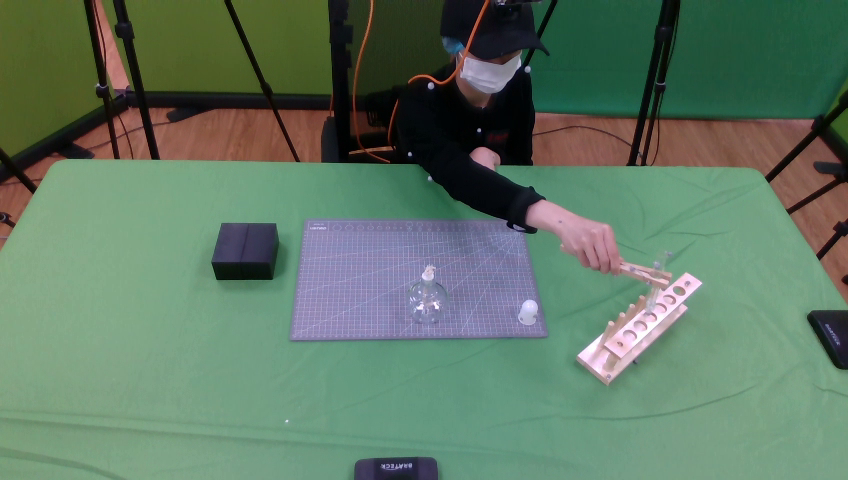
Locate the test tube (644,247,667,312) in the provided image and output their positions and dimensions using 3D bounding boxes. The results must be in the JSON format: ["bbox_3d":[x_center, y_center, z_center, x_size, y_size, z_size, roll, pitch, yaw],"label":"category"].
[{"bbox_3d":[0.361,0.066,0.948,0.017,0.151,0.017,-5,47,6],"label":"test tube"}]

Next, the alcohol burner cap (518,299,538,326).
[{"bbox_3d":[0.186,0.126,1.072,0.034,0.048,0.033,1,44,-1],"label":"alcohol burner cap"}]

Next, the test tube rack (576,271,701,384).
[{"bbox_3d":[0.373,0.138,1.047,0.242,0.085,0.066,-31,56,-29],"label":"test tube rack"}]

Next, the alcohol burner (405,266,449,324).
[{"bbox_3d":[0.005,0.089,1.043,0.078,0.120,0.077,1,44,-1],"label":"alcohol burner"}]

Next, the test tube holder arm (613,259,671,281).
[{"bbox_3d":[0.340,0.047,0.951,0.087,0.015,0.010,13,50,24],"label":"test tube holder arm"}]

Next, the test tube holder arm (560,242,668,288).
[{"bbox_3d":[0.300,0.038,0.968,0.177,0.015,0.013,20,52,29],"label":"test tube holder arm"}]
